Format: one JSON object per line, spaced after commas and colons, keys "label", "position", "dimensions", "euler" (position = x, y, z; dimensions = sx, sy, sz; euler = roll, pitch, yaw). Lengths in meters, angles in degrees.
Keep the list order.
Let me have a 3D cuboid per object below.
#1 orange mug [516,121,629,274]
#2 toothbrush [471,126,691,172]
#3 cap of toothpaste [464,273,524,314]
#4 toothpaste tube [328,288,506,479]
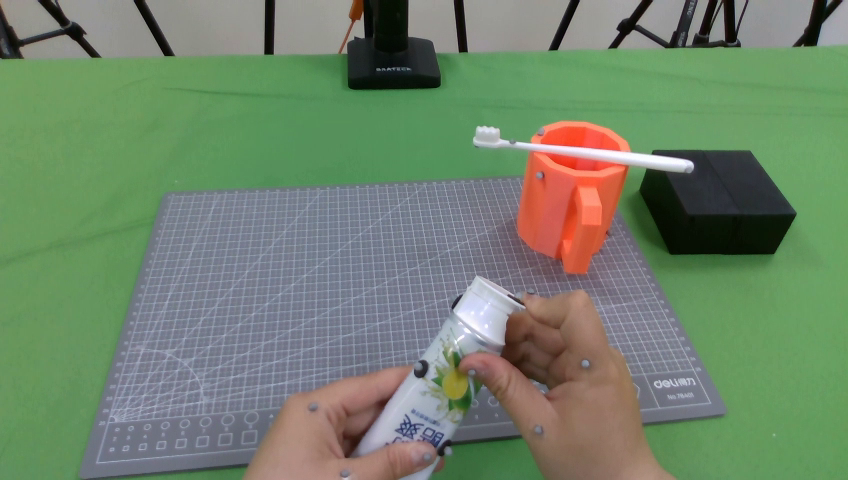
{"label": "orange mug", "position": [0.132, -0.034, 0.539], "dimensions": [0.083, 0.101, 0.125], "euler": [2, 39, 0]}
{"label": "toothbrush", "position": [0.129, -0.076, 0.506], "dimensions": [0.181, 0.017, 0.014], "euler": [9, 36, 7]}
{"label": "cap of toothpaste", "position": [0.038, 0.031, 0.335], "dimensions": [0.037, 0.011, 0.037], "euler": [31, 5, -3]}
{"label": "toothpaste tube", "position": [-0.003, 0.098, 0.342], "dimensions": [0.055, 0.165, 0.034], "euler": [29, 5, -3]}
